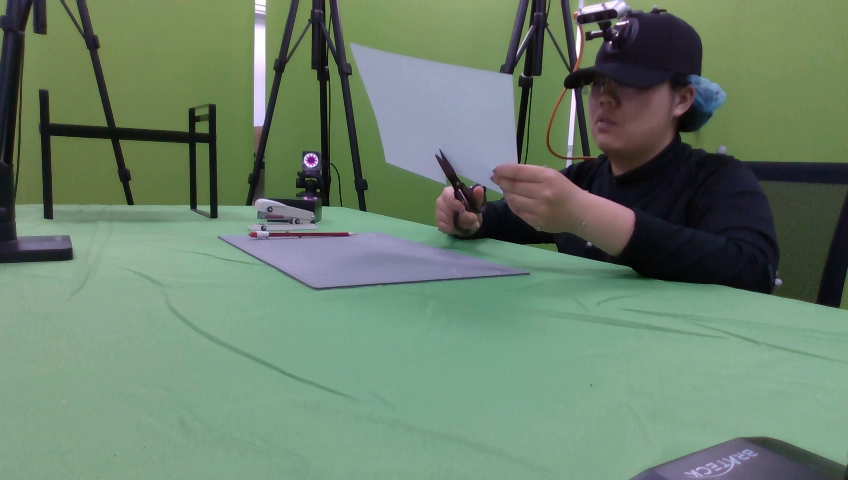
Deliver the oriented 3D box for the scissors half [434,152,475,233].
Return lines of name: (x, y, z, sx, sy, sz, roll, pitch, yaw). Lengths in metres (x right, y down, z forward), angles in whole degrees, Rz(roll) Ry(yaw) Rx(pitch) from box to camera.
scissors half: (0.046, -0.072, 0.952, 0.013, 0.176, 0.040, 16, 56, 37)

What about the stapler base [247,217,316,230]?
stapler base: (-0.276, -0.033, 1.172, 0.131, 0.024, 0.041, 0, 10, -37)

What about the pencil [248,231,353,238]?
pencil: (-0.206, -0.009, 1.039, 0.195, 0.012, 0.012, 0, 8, -36)

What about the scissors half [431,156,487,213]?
scissors half: (0.057, -0.089, 0.957, 0.012, 0.040, 0.176, 22, -7, 39)

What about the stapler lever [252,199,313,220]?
stapler lever: (-0.273, -0.058, 1.170, 0.119, 0.040, 0.026, 0, 10, -37)
